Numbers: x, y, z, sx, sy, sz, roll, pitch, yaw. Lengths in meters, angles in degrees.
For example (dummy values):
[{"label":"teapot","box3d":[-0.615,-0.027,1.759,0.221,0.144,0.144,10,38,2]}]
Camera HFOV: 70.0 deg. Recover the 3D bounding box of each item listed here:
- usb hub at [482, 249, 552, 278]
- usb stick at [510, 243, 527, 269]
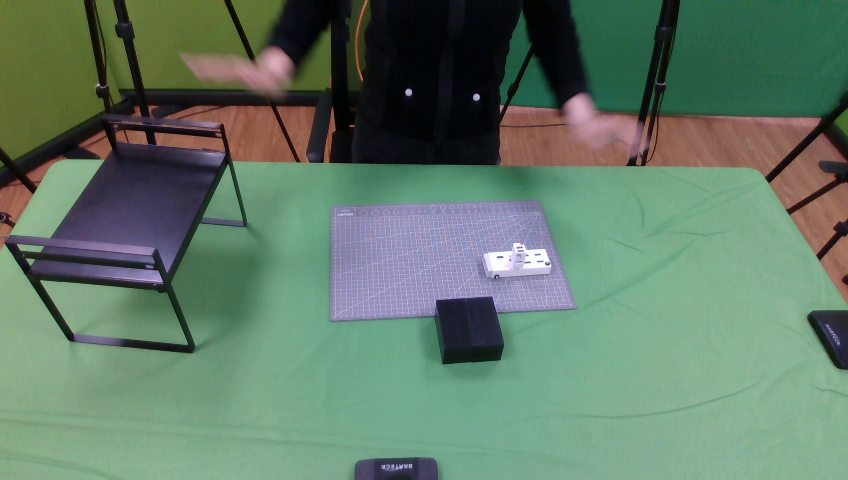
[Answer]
[{"label":"usb hub","box3d":[0.178,0.045,1.160,0.125,0.025,0.049,-4,47,-7]},{"label":"usb stick","box3d":[0.174,0.034,1.125,0.021,0.059,0.027,-5,49,-10]}]
